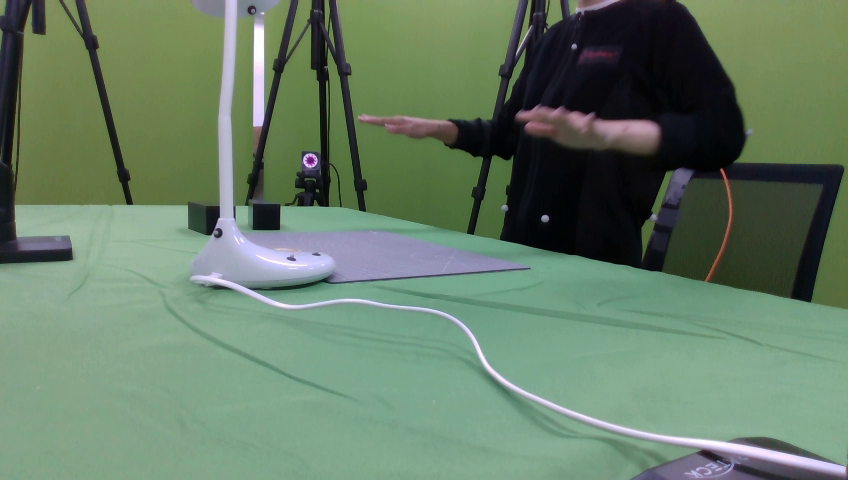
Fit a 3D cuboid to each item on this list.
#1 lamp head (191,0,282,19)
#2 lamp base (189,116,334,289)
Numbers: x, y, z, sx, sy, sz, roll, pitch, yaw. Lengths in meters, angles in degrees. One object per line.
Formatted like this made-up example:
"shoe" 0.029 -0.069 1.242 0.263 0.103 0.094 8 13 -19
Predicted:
"lamp head" -0.222 -0.330 0.689 0.112 0.112 0.123 3 -33 -4
"lamp base" -0.185 -0.044 0.669 0.160 0.180 0.179 3 10 14
